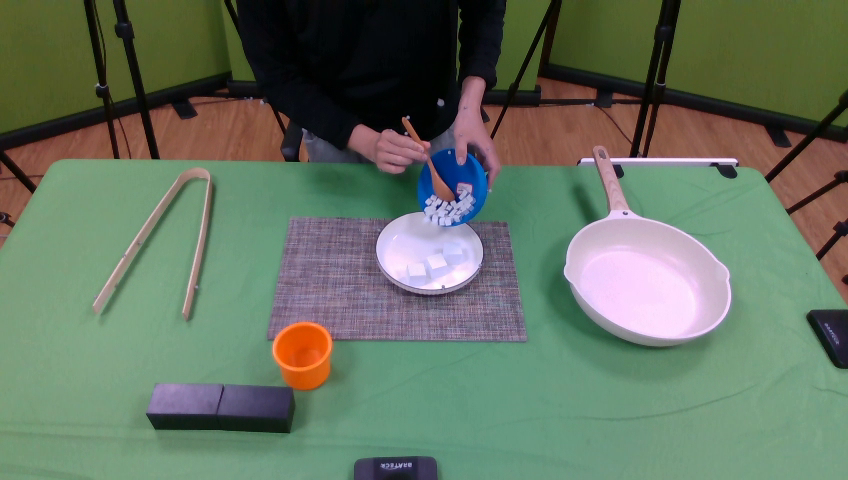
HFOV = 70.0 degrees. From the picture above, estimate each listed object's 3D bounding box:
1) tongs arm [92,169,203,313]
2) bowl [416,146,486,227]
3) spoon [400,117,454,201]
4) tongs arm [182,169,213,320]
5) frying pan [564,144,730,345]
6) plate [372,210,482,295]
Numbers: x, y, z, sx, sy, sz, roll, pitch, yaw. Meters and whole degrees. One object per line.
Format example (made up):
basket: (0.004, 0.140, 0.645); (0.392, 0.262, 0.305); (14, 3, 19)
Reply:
tongs arm: (-0.517, -0.012, 1.160); (0.051, 0.026, 0.382); (7, 45, 1)
bowl: (0.066, -0.099, 1.160); (0.150, 0.151, 0.077); (43, 25, 31)
spoon: (0.004, -0.150, 1.141); (0.041, 0.194, 0.021); (-3, 35, 43)
tongs arm: (-0.436, -0.005, 1.166); (0.028, 0.028, 0.385); (-5, 46, -6)
frying pan: (0.396, -0.008, 1.179); (0.307, 0.103, 0.484); (0, 55, -5)
plate: (0.005, 0.028, 1.155); (0.208, 0.039, 0.206); (2, 46, -2)
